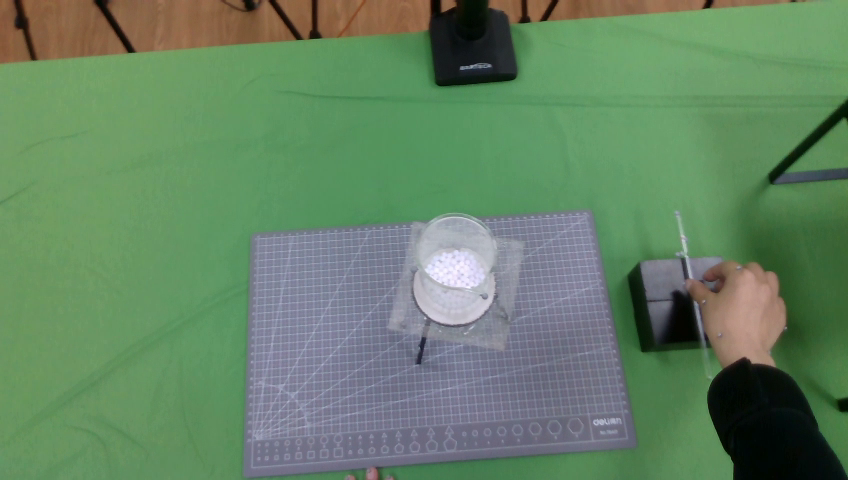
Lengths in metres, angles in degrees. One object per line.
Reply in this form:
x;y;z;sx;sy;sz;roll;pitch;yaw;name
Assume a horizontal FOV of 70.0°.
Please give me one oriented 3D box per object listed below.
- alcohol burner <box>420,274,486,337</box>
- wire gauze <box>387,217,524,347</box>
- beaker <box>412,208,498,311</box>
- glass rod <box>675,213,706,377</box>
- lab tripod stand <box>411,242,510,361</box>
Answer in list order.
0.034;0.071;0.697;0.078;0.120;0.077;-1;70;2;alcohol burner
0.035;0.042;0.627;0.121;0.011;0.124;13;68;4;wire gauze
0.031;0.026;0.582;0.074;0.101;0.083;-30;72;-10;beaker
0.312;0.060;0.710;0.008;0.008;0.198;0;70;0;glass rod
0.030;0.064;0.690;0.148;0.132;0.147;-1;69;2;lab tripod stand
